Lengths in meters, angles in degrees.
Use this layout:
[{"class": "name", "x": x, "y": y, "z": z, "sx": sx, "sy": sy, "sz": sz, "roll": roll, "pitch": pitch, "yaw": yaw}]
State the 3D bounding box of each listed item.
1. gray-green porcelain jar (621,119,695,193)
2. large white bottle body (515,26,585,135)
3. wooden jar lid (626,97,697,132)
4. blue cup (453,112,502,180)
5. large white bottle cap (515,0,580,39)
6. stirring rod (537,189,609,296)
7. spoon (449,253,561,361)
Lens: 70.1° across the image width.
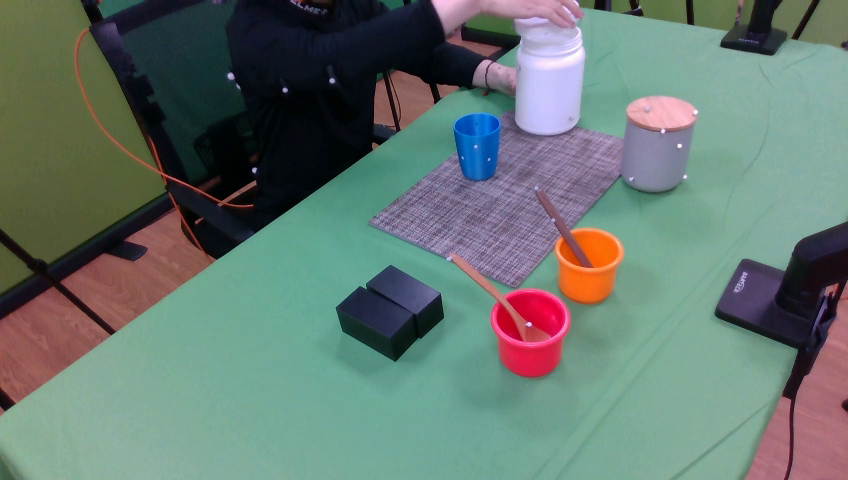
[{"class": "gray-green porcelain jar", "x": 0.389, "y": -0.152, "z": 1.016, "sx": 0.106, "sy": 0.127, "sz": 0.105, "roll": -4, "pitch": 40, "yaw": 4}, {"class": "large white bottle body", "x": 0.243, "y": -0.314, "z": 1.175, "sx": 0.130, "sy": 0.185, "sz": 0.130, "roll": -3, "pitch": 40, "yaw": 3}, {"class": "wooden jar lid", "x": 0.381, "y": -0.198, "z": 0.976, "sx": 0.108, "sy": 0.021, "sz": 0.108, "roll": -2, "pitch": 40, "yaw": 3}, {"class": "blue cup", "x": 0.097, "y": -0.165, "z": 1.088, "sx": 0.092, "sy": 0.100, "sz": 0.092, "roll": -3, "pitch": 40, "yaw": 3}, {"class": "large white bottle cap", "x": 0.220, "y": -0.396, "z": 1.080, "sx": 0.114, "sy": 0.018, "sz": 0.114, "roll": -12, "pitch": 43, "yaw": 11}, {"class": "stirring rod", "x": 0.210, "y": 0.003, "z": 0.855, "sx": 0.014, "sy": 0.006, "sz": 0.176, "roll": -32, "pitch": 89, "yaw": -30}, {"class": "spoon", "x": 0.103, "y": 0.083, "z": 0.770, "sx": 0.194, "sy": 0.021, "sz": 0.042, "roll": 47, "pitch": 51, "yaw": -7}]
